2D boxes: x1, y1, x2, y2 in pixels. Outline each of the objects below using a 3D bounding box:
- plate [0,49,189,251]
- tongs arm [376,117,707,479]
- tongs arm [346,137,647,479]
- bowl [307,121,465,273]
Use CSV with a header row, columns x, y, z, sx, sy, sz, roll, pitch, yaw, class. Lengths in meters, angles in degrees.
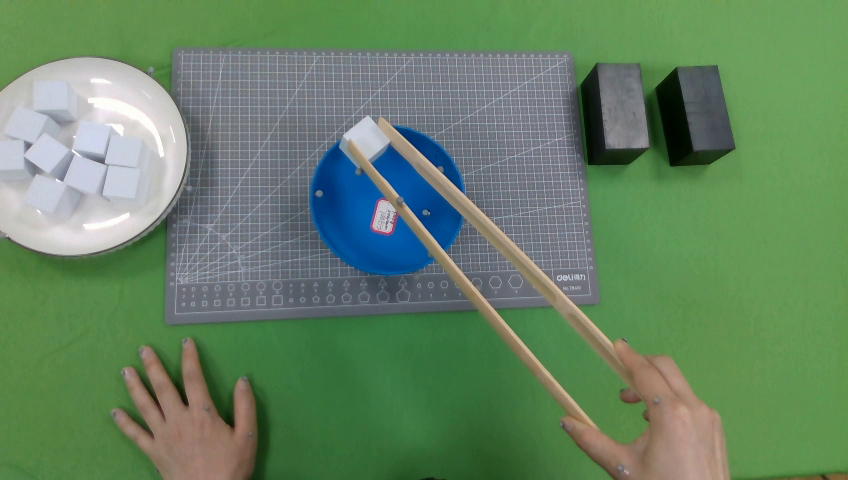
x,y,z,sx,sy,sz,roll,pitch,yaw,class
-0.340,-0.088,0.607,0.208,0.039,0.206,1,79,-6,plate
0.085,0.038,0.496,0.028,0.028,0.386,-37,78,-25,tongs arm
0.069,0.052,0.488,0.051,0.026,0.383,-34,77,-21,tongs arm
-0.039,-0.035,0.611,0.152,0.077,0.150,2,78,-7,bowl
